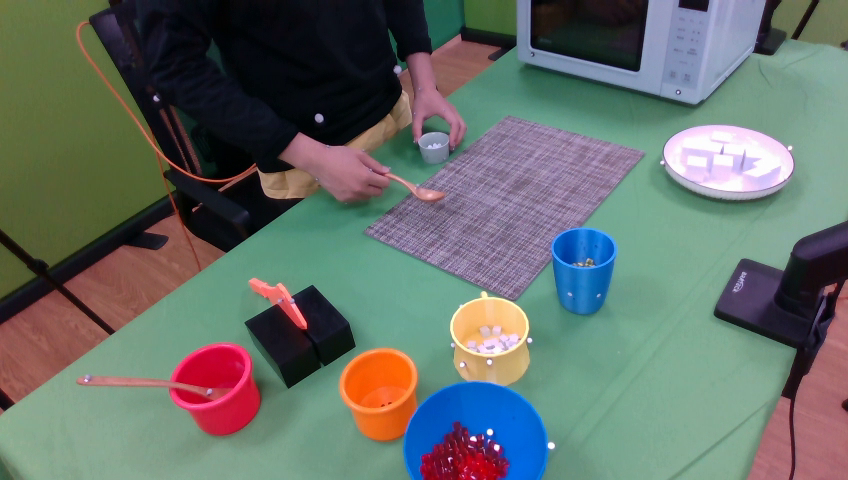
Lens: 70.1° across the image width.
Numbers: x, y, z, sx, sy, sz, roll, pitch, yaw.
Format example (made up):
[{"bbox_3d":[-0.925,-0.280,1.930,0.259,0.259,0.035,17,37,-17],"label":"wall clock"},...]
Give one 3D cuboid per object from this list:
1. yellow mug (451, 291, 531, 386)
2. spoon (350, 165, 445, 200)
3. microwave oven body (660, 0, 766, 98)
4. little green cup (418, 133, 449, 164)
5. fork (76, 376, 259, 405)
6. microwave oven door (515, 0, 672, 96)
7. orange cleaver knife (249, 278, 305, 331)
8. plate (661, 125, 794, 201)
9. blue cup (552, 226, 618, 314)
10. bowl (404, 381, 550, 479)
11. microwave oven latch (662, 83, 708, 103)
[{"bbox_3d":[0.085,0.120,0.786,0.100,0.064,0.130,-7,39,1],"label":"yellow mug"},{"bbox_3d":[-0.049,-0.103,1.045,0.192,0.022,0.042,24,36,24],"label":"spoon"},{"bbox_3d":[0.472,-0.513,1.317,0.438,0.261,0.327,26,51,34],"label":"microwave oven body"},{"bbox_3d":[0.019,-0.176,1.169,0.061,0.039,0.061,-3,40,3],"label":"little green cup"},{"bbox_3d":[-0.295,0.176,0.716,0.209,0.018,0.028,19,27,-37],"label":"fork"},{"bbox_3d":[0.343,-0.454,1.259,0.353,0.245,0.039,26,51,33],"label":"microwave oven door"},{"bbox_3d":[-0.210,0.088,0.856,0.012,0.077,0.210,-28,15,-25],"label":"orange cleaver knife"},{"bbox_3d":[0.513,-0.128,1.035,0.207,0.039,0.206,-4,40,4],"label":"plate"},{"bbox_3d":[0.217,0.047,0.825,0.092,0.100,0.092,-6,40,5],"label":"blue cup"},{"bbox_3d":[0.058,0.235,0.645,0.151,0.077,0.150,-4,39,4],"label":"bowl"},{"bbox_3d":[0.518,-0.296,1.204,0.078,0.029,0.030,28,52,35],"label":"microwave oven latch"}]
